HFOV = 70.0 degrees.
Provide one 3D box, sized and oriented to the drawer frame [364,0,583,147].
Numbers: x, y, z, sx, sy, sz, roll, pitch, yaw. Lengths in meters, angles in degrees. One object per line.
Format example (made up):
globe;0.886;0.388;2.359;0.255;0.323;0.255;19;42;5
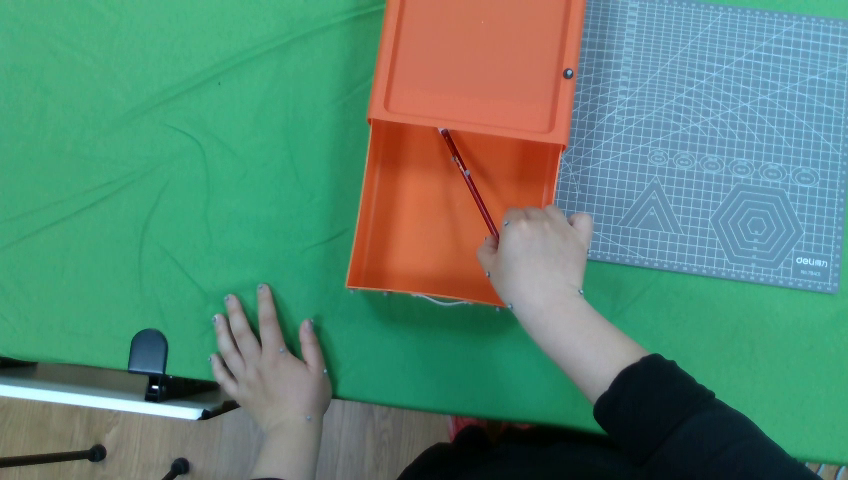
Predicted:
drawer frame;0.055;-0.207;0.630;0.201;0.083;0.213;7;84;4

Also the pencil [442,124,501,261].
pencil;0.045;-0.065;0.624;0.012;0.012;0.192;-19;71;1

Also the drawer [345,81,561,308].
drawer;0.033;-0.045;0.620;0.194;0.073;0.211;7;87;4
